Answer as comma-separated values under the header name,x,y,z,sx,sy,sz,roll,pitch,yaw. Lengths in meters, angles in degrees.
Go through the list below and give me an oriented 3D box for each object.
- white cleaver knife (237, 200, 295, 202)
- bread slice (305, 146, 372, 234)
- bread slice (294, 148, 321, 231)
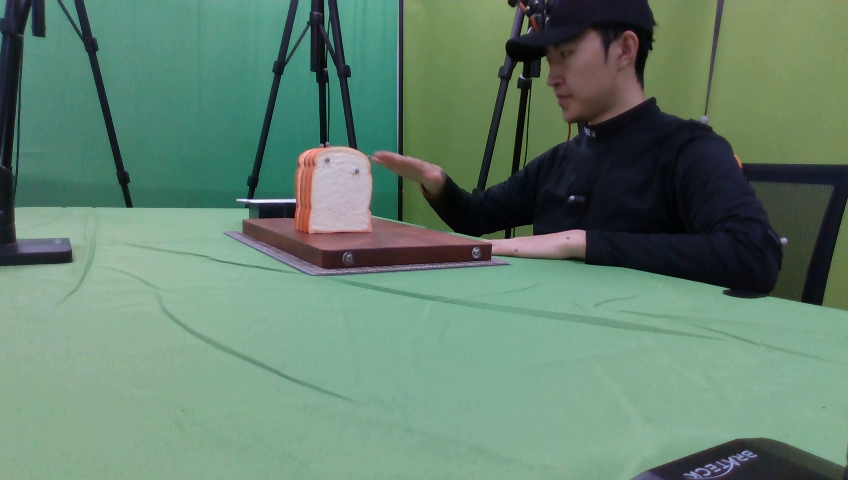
name,x,y,z,sx,sy,sz,roll,pitch,yaw
white cleaver knife,-0.262,-0.087,1.300,0.065,0.021,0.288,9,8,42
bread slice,-0.131,-0.076,0.924,0.107,0.134,0.018,-5,11,-32
bread slice,-0.158,-0.081,0.970,0.105,0.131,0.019,-2,3,-33
